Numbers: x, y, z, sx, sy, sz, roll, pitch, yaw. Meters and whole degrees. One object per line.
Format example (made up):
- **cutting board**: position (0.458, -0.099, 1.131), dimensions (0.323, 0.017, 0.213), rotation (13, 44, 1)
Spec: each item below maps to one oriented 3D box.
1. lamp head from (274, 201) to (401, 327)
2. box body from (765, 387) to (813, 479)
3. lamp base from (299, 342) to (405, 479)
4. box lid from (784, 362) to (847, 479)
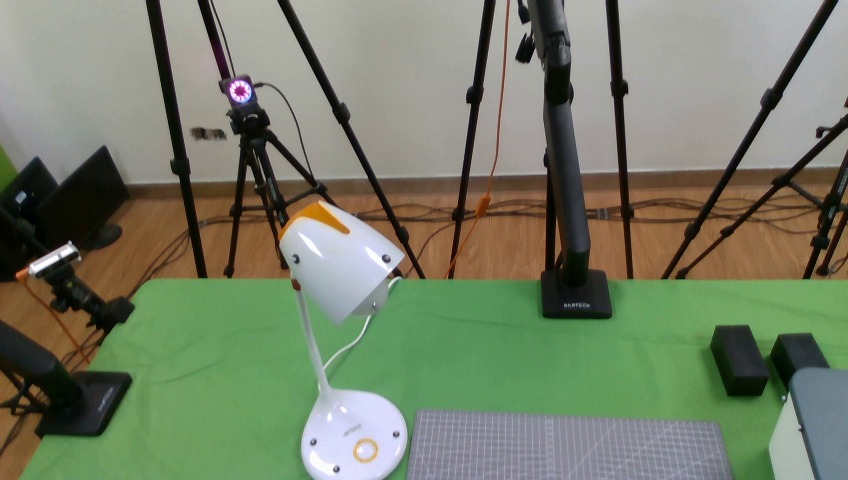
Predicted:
- **lamp head**: position (-0.105, 0.019, 0.667), dimensions (0.123, 0.113, 0.112), rotation (40, 52, 1)
- **box body**: position (0.557, 0.338, 0.667), dimensions (0.253, 0.162, 0.361), rotation (2, 41, 11)
- **lamp base**: position (-0.125, 0.238, 0.871), dimensions (0.160, 0.182, 0.177), rotation (-35, 45, -29)
- **box lid**: position (0.551, 0.281, 0.620), dimensions (0.263, 0.015, 0.368), rotation (2, 42, 11)
